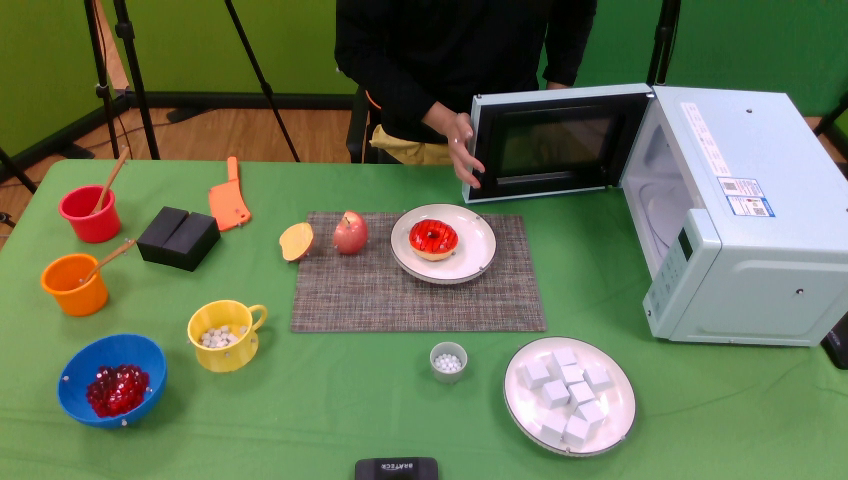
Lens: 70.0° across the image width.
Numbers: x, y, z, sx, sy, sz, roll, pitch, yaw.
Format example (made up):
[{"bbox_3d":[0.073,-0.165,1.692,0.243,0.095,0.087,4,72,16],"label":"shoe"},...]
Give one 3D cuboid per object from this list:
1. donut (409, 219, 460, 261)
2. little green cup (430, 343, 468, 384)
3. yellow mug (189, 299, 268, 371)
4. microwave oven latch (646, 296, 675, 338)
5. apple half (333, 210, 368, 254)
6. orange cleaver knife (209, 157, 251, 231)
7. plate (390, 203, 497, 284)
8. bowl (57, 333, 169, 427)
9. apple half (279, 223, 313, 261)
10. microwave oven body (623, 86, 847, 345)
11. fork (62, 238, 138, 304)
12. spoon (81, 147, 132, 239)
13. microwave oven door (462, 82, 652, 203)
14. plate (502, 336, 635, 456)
[{"bbox_3d":[0.019,-0.001,1.169,0.099,0.048,0.098,3,44,-2],"label":"donut"},{"bbox_3d":[0.039,0.203,0.994,0.061,0.039,0.061,2,46,-2],"label":"little green cup"},{"bbox_3d":[-0.316,0.148,1.002,0.131,0.064,0.099,-33,56,-31],"label":"yellow mug"},{"bbox_3d":[0.412,0.134,1.061,0.030,0.029,0.078,3,45,0],"label":"microwave oven latch"},{"bbox_3d":[-0.136,-0.010,1.158,0.053,0.075,0.080,17,43,7],"label":"apple half"},{"bbox_3d":[-0.409,-0.099,1.266,0.077,0.012,0.210,-14,50,-10],"label":"orange cleaver knife"},{"bbox_3d":[0.037,0.010,1.175,0.209,0.038,0.208,2,46,-2],"label":"plate"},{"bbox_3d":[-0.455,0.223,0.912,0.151,0.077,0.150,3,45,-2],"label":"bowl"},{"bbox_3d":[-0.237,0.007,1.157,0.081,0.033,0.081,-14,58,24],"label":"apple half"},{"bbox_3d":[0.568,-0.053,1.118,0.326,0.261,0.439,2,45,-1],"label":"microwave oven body"},{"bbox_3d":[-0.547,0.053,1.018,0.207,0.019,0.028,-36,41,23],"label":"fork"},{"bbox_3d":[-0.603,-0.089,1.156,0.041,0.022,0.193,28,94,19],"label":"spoon"},{"bbox_3d":[0.262,-0.195,1.227,0.356,0.245,0.039,-7,47,-11],"label":"microwave oven door"},{"bbox_3d":[0.225,0.248,0.963,0.208,0.039,0.206,2,46,-2],"label":"plate"}]
